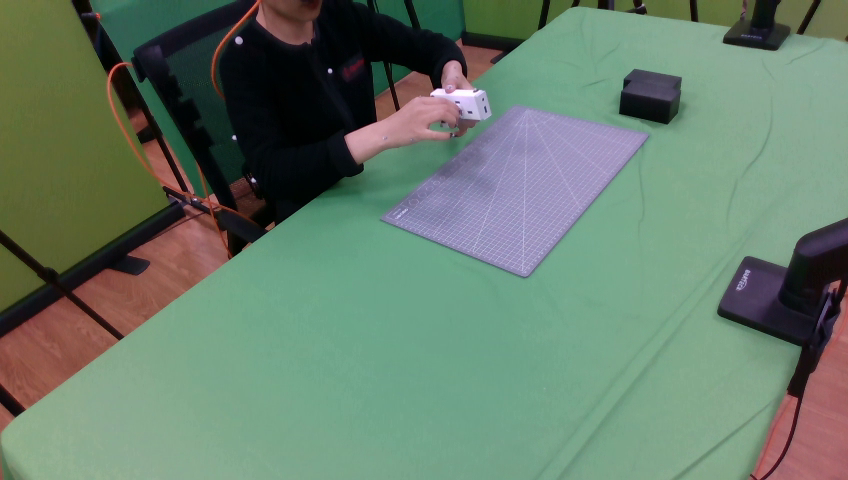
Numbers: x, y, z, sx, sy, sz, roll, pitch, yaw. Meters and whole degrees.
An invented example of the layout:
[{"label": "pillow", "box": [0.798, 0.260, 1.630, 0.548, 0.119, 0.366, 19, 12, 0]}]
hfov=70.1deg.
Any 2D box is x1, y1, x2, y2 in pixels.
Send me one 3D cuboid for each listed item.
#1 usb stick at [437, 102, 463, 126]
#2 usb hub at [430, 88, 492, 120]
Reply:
[{"label": "usb stick", "box": [0.051, -0.230, 1.089, 0.021, 0.027, 0.059, 15, 42, 43]}, {"label": "usb hub", "box": [0.066, -0.250, 1.106, 0.124, 0.050, 0.025, 16, 47, 45]}]
